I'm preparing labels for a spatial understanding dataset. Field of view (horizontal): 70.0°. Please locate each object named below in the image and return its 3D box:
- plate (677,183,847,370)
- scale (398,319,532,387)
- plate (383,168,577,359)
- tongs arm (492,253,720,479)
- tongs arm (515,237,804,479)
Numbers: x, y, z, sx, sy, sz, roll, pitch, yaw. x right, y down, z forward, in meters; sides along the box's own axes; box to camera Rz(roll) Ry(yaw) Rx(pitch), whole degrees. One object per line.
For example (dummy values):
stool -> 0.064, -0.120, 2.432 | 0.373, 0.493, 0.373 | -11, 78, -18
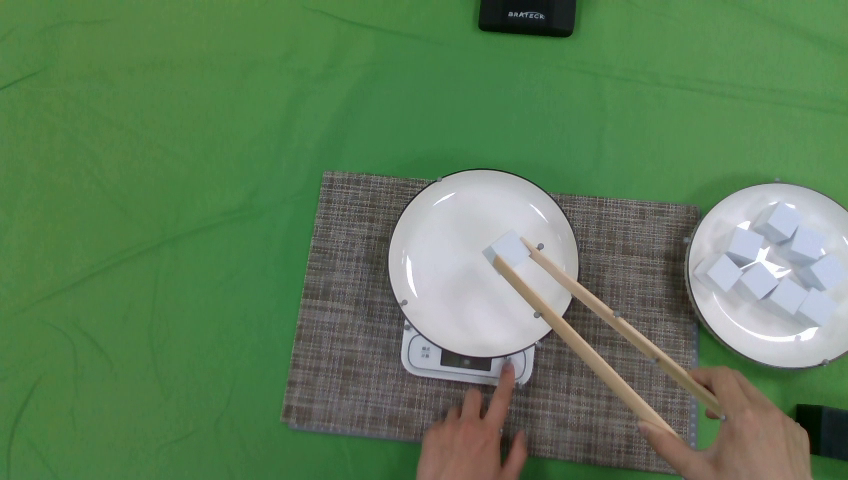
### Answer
plate -> 0.386, 0.040, 0.676 | 0.207, 0.039, 0.206 | -1, 78, 3
scale -> 0.054, 0.060, 0.690 | 0.148, 0.032, 0.200 | 6, 79, 5
plate -> 0.060, 0.025, 0.662 | 0.209, 0.038, 0.208 | -1, 78, 3
tongs arm -> 0.195, 0.145, 0.523 | 0.028, 0.028, 0.384 | -34, 66, -24
tongs arm -> 0.212, 0.133, 0.531 | 0.382, 0.027, 0.050 | 41, 66, 20
